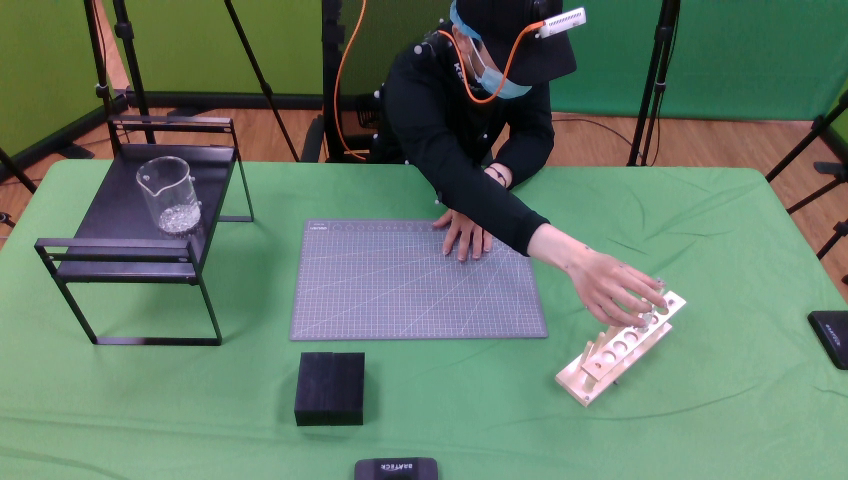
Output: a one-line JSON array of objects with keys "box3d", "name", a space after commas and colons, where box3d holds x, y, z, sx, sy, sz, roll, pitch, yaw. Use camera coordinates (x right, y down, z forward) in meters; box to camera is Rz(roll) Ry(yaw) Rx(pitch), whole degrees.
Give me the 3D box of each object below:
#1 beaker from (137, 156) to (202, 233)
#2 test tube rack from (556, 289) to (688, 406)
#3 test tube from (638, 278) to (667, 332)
[{"box3d": [-0.385, -0.065, 0.925, 0.074, 0.101, 0.083, 2, 47, -1], "name": "beaker"}, {"box3d": [0.332, 0.166, 1.014, 0.242, 0.085, 0.066, -30, 55, -28], "name": "test tube rack"}, {"box3d": [0.354, 0.108, 0.945, 0.017, 0.151, 0.017, -2, 50, 3], "name": "test tube"}]
